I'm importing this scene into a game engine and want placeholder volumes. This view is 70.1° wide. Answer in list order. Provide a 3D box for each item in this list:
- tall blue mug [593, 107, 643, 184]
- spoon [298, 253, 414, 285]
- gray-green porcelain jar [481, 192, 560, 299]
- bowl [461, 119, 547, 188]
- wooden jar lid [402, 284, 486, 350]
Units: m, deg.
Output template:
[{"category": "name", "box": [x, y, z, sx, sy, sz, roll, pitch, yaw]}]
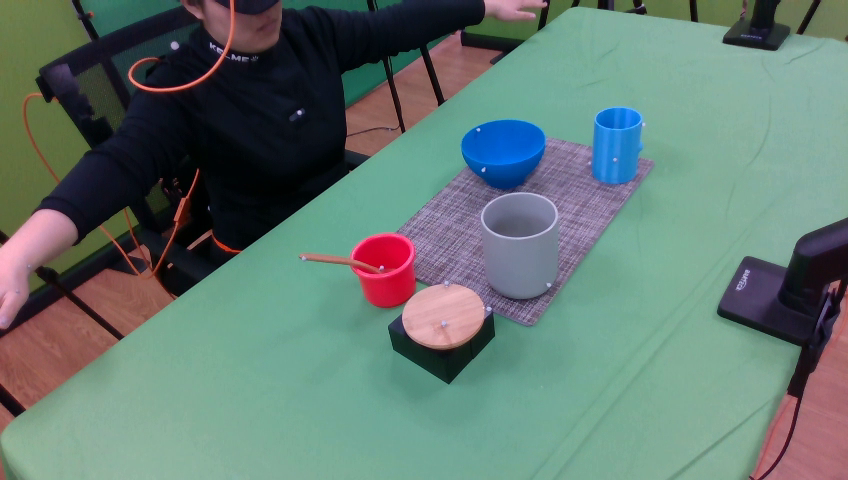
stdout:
[{"category": "tall blue mug", "box": [0.330, -0.172, 1.052, 0.078, 0.108, 0.106, -12, 40, 0]}, {"category": "spoon", "box": [-0.093, 0.038, 0.866, 0.195, 0.021, 0.041, 18, 24, -40]}, {"category": "gray-green porcelain jar", "box": [0.138, 0.012, 0.858, 0.106, 0.127, 0.105, -6, 40, 5]}, {"category": "bowl", "box": [0.145, -0.145, 1.081, 0.151, 0.077, 0.150, -5, 40, 5]}, {"category": "wooden jar lid", "box": [0.026, 0.101, 0.786, 0.108, 0.021, 0.108, -5, 39, 4]}]
